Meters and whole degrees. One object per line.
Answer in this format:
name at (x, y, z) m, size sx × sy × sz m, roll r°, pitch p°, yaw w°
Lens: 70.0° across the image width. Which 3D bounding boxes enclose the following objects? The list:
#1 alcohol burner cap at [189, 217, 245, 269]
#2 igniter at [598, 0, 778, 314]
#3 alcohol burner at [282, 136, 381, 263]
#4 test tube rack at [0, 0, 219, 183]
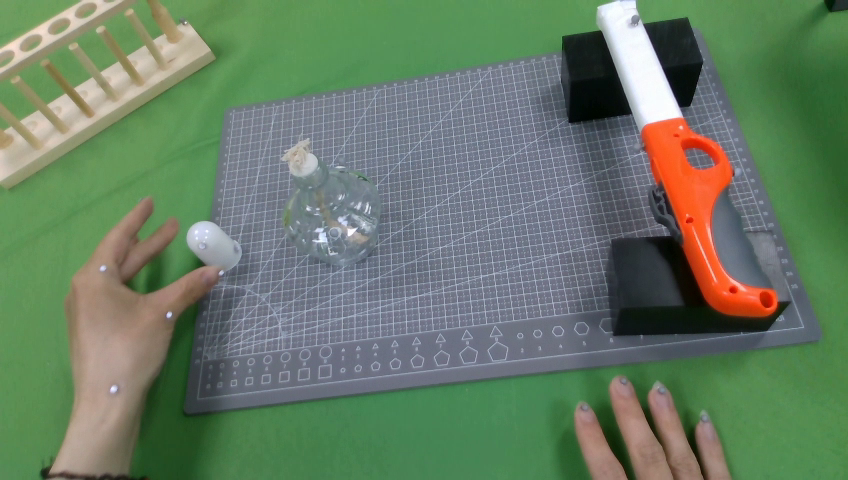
alcohol burner cap at (-0.172, 0.000, 0.495) m, size 0.034 × 0.048 × 0.033 m, roll -5°, pitch 61°, yaw 9°
igniter at (0.172, -0.072, 0.421) m, size 0.057 × 0.025 × 0.274 m, roll -11°, pitch 58°, yaw 6°
alcohol burner at (-0.074, -0.033, 0.453) m, size 0.078 × 0.120 × 0.077 m, roll -5°, pitch 58°, yaw 9°
test tube rack at (-0.338, -0.166, 0.597) m, size 0.242 × 0.086 × 0.066 m, roll -36°, pitch 61°, yaw -10°
